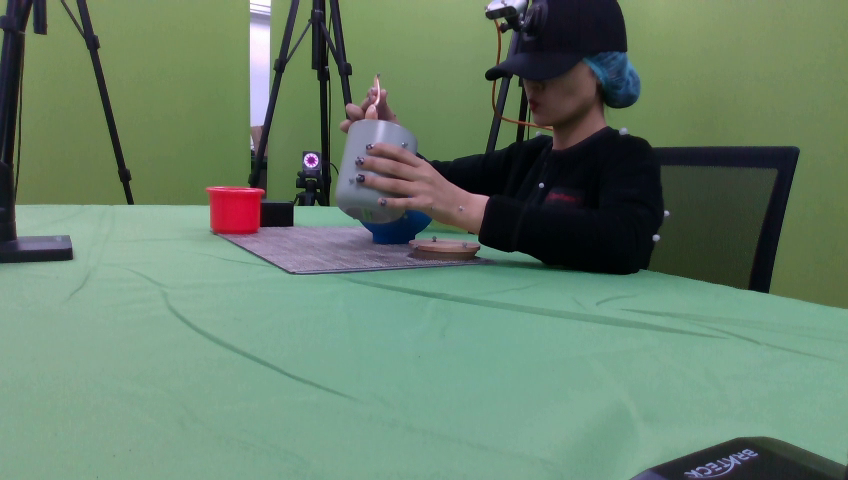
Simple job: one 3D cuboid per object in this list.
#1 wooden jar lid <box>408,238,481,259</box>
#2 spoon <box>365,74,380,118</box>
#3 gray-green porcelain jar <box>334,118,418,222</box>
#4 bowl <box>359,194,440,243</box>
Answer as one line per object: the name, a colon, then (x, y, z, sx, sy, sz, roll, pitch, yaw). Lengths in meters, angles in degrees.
wooden jar lid: (0.031, 0.012, 0.895, 0.108, 0.020, 0.108, 3, 8, 0)
spoon: (-0.081, -0.232, 0.996, 0.022, 0.041, 0.193, 14, 34, -8)
gray-green porcelain jar: (-0.070, -0.096, 0.876, 0.106, 0.126, 0.106, 9, -16, 3)
bowl: (-0.050, -0.038, 1.033, 0.151, 0.077, 0.151, 3, 7, 0)
